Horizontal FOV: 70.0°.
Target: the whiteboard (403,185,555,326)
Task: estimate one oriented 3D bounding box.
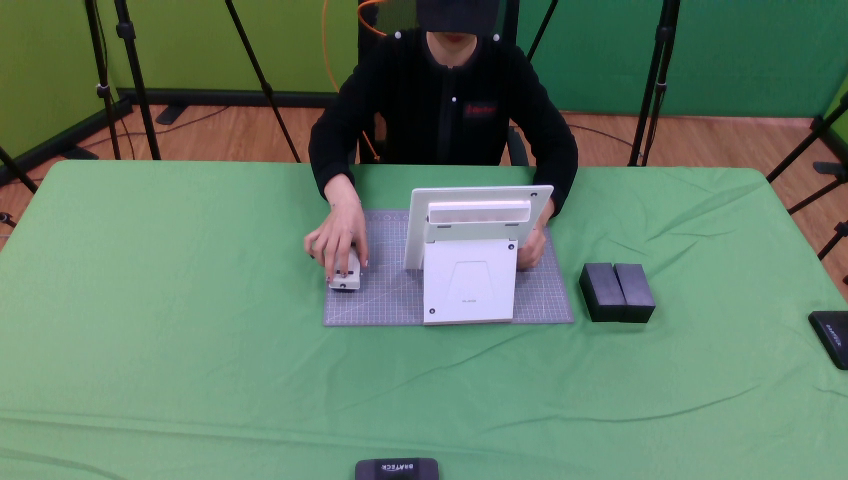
[{"bbox_3d":[0.081,0.044,1.005,0.217,0.306,0.143,-1,65,-5],"label":"whiteboard"}]

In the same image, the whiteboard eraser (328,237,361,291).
[{"bbox_3d":[-0.147,0.045,1.127,0.055,0.042,0.112,1,47,-4],"label":"whiteboard eraser"}]
